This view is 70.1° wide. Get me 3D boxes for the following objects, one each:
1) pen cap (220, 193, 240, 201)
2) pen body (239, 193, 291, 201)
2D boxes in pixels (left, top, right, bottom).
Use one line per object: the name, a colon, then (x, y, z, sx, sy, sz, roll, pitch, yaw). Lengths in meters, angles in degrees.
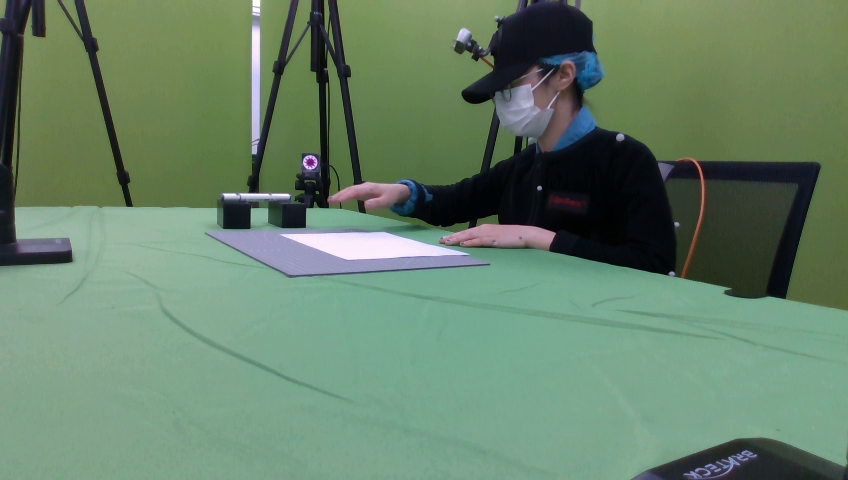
pen cap: (-0.383, -0.085, 1.194, 0.039, 0.017, 0.017, -5, 10, -44)
pen body: (-0.337, -0.089, 1.236, 0.145, 0.017, 0.017, -5, 10, -43)
